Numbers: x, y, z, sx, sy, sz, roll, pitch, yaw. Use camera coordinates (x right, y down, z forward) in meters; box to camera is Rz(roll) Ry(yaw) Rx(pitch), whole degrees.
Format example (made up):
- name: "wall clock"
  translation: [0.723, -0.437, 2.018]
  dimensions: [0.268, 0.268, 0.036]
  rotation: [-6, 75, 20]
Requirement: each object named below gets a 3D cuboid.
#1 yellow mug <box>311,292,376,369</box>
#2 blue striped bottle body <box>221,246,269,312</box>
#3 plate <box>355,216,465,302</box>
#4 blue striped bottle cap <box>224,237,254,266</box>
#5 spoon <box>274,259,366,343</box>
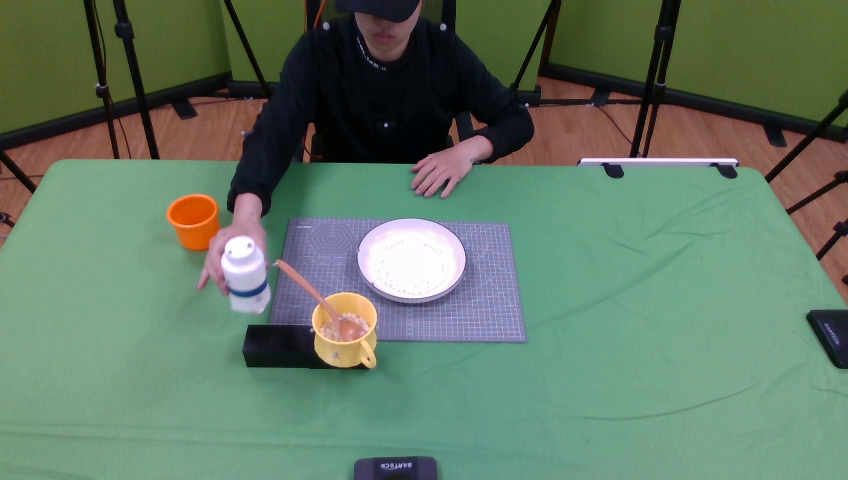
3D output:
- name: "yellow mug"
  translation: [-0.115, 0.150, 0.945]
  dimensions: [0.100, 0.064, 0.130]
  rotation: [-30, 57, -28]
- name: "blue striped bottle body"
  translation: [-0.278, 0.052, 0.940]
  dimensions: [0.063, 0.121, 0.062]
  rotation: [3, 46, -3]
- name: "plate"
  translation: [-0.027, 0.039, 1.144]
  dimensions: [0.208, 0.039, 0.206]
  rotation: [2, 46, -2]
- name: "blue striped bottle cap"
  translation: [-0.276, 0.016, 0.903]
  dimensions: [0.044, 0.021, 0.044]
  rotation: [5, 47, -5]
- name: "spoon"
  translation: [-0.161, 0.098, 0.946]
  dimensions: [0.194, 0.021, 0.041]
  rotation: [48, 55, -5]
